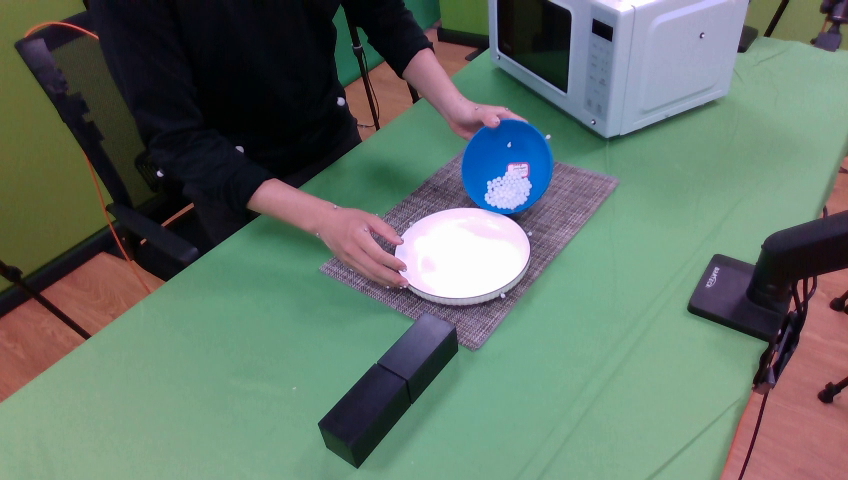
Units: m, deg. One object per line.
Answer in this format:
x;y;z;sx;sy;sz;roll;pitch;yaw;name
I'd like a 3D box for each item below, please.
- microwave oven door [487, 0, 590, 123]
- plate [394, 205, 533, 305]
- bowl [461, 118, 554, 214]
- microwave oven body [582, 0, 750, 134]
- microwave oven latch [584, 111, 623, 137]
0.232;-0.420;1.230;0.039;0.245;0.352;-22;43;-16;microwave oven door
0.059;0.025;0.915;0.207;0.039;0.206;-4;41;4;plate
0.144;-0.115;0.974;0.150;0.151;0.077;16;8;25;bowl
0.382;-0.444;1.246;0.327;0.261;0.437;-22;42;-16;microwave oven body
0.337;-0.222;1.142;0.030;0.029;0.078;-21;42;-14;microwave oven latch
